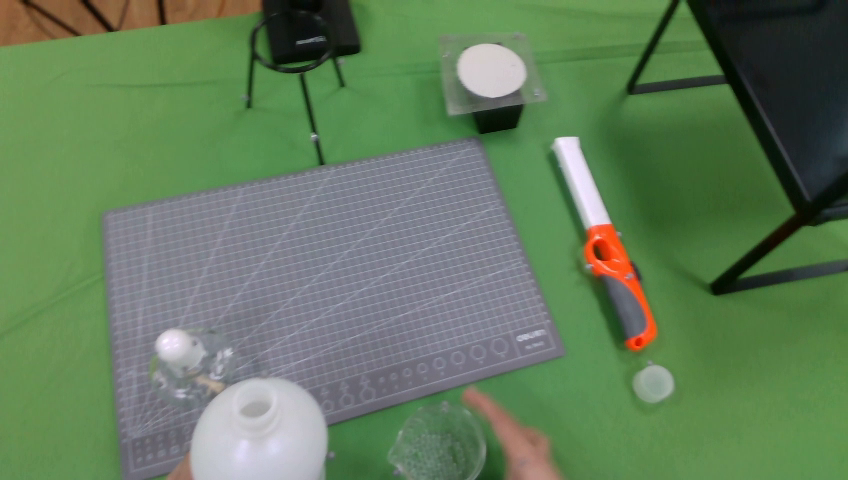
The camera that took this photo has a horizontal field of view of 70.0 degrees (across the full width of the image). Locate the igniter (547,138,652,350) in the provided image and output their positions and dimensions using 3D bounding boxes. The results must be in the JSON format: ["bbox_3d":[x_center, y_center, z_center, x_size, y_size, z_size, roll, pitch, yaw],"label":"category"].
[{"bbox_3d":[0.201,-0.004,0.705,0.057,0.025,0.274,-5,63,-19],"label":"igniter"}]

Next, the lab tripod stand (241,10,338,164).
[{"bbox_3d":[-0.151,-0.181,0.704,0.148,0.132,0.147,3,63,-6],"label":"lab tripod stand"}]

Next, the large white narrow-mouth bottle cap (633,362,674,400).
[{"bbox_3d":[0.240,0.148,0.636,0.038,0.024,0.037,2,62,-3],"label":"large white narrow-mouth bottle cap"}]

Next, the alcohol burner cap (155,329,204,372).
[{"bbox_3d":[-0.215,0.094,0.525,0.034,0.048,0.033,1,68,-2],"label":"alcohol burner cap"}]

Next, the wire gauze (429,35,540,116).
[{"bbox_3d":[0.073,-0.210,0.754,0.122,0.011,0.124,-6,64,-8],"label":"wire gauze"}]

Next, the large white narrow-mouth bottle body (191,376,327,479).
[{"bbox_3d":[-0.125,0.164,0.469,0.102,0.196,0.101,5,50,-5],"label":"large white narrow-mouth bottle body"}]

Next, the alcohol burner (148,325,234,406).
[{"bbox_3d":[-0.218,0.110,0.558,0.078,0.120,0.077,3,61,-5],"label":"alcohol burner"}]

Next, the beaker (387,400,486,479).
[{"bbox_3d":[0.008,0.194,0.547,0.084,0.101,0.073,-8,63,-8],"label":"beaker"}]
